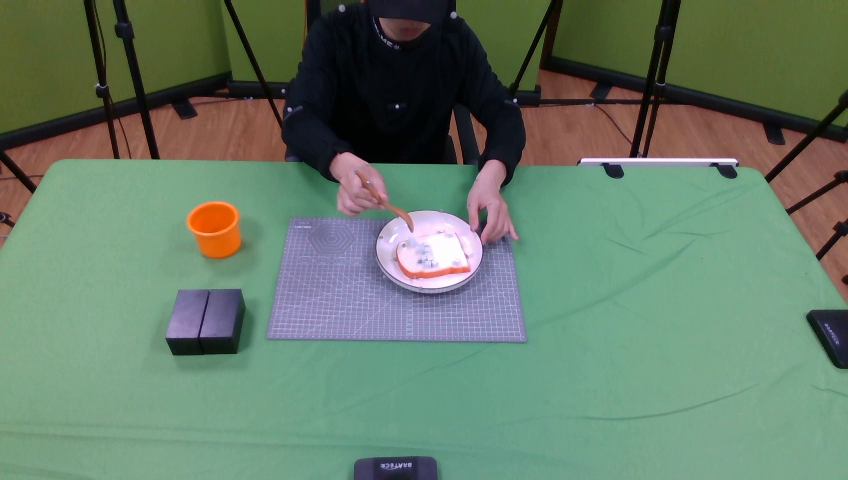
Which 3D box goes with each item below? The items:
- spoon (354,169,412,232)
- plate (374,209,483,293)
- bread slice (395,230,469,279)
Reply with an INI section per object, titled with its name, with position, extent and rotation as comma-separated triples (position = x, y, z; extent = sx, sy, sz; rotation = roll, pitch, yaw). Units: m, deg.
[spoon]
position = -0.071, -0.068, 1.078
extent = 0.021, 0.195, 0.041
rotation = -37, 50, 11
[plate]
position = 0.009, 0.024, 1.160
extent = 0.209, 0.038, 0.208
rotation = 2, 46, -2
[bread slice]
position = 0.011, 0.029, 1.157
extent = 0.132, 0.019, 0.104
rotation = -10, 47, -12
